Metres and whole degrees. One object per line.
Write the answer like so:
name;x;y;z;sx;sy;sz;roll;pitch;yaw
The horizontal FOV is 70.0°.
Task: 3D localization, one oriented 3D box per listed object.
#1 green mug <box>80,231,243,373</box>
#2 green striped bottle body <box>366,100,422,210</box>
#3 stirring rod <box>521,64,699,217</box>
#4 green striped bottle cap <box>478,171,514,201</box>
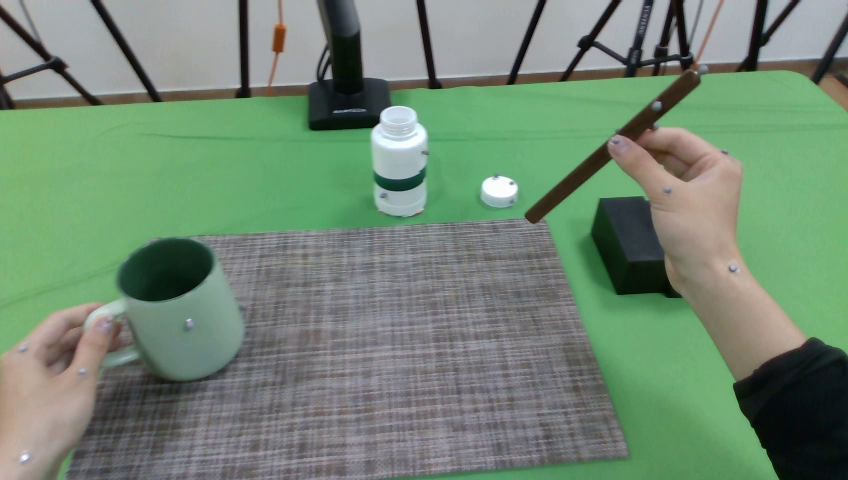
green mug;-0.227;0.063;0.525;0.125;0.106;0.091;-27;50;-26
green striped bottle body;-0.034;-0.098;0.694;0.063;0.120;0.062;1;43;0
stirring rod;0.137;-0.071;0.471;0.014;0.176;0.006;40;40;-7
green striped bottle cap;0.088;-0.066;0.738;0.044;0.020;0.044;0;40;0
